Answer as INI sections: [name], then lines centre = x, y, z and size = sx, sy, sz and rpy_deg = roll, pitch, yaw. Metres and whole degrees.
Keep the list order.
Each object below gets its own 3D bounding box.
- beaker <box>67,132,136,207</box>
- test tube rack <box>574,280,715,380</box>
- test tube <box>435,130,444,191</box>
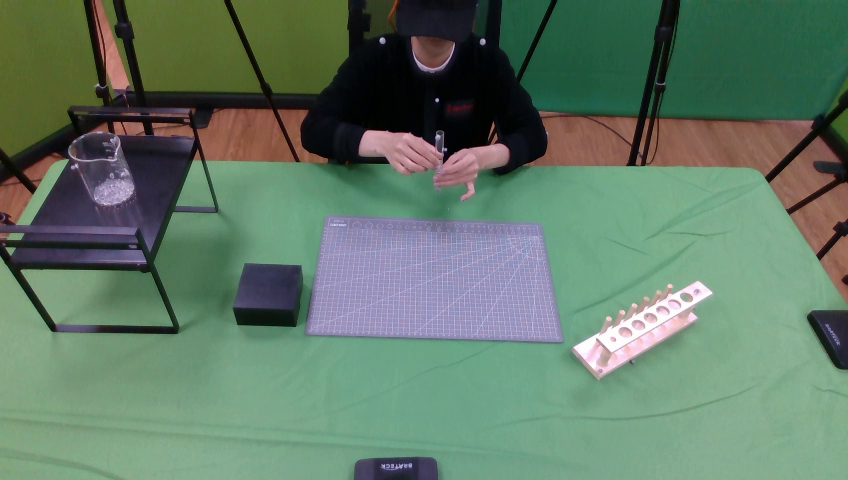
[beaker]
centre = -0.504, -0.109, 0.961
size = 0.083, 0.101, 0.074
rpy_deg = 25, 50, 19
[test tube rack]
centre = 0.378, 0.140, 1.038
size = 0.242, 0.085, 0.066
rpy_deg = -23, 51, -23
[test tube]
centre = 0.030, -0.150, 1.169
size = 0.017, 0.151, 0.017
rpy_deg = 0, 50, 0
